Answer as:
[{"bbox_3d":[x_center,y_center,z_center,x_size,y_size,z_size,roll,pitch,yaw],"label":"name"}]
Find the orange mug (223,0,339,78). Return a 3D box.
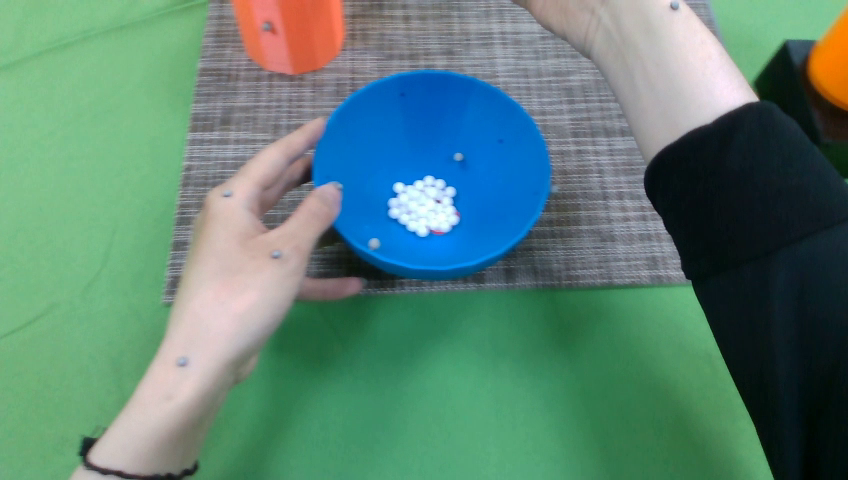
[{"bbox_3d":[-0.112,-0.209,0.483,0.083,0.101,0.125,9,68,2],"label":"orange mug"}]

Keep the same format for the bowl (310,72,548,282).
[{"bbox_3d":[0.002,-0.030,0.413,0.151,0.077,0.150,1,63,-2],"label":"bowl"}]
